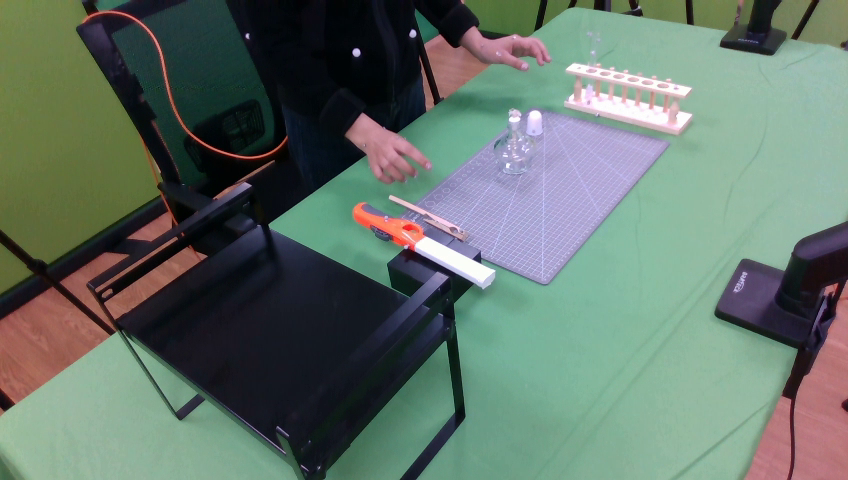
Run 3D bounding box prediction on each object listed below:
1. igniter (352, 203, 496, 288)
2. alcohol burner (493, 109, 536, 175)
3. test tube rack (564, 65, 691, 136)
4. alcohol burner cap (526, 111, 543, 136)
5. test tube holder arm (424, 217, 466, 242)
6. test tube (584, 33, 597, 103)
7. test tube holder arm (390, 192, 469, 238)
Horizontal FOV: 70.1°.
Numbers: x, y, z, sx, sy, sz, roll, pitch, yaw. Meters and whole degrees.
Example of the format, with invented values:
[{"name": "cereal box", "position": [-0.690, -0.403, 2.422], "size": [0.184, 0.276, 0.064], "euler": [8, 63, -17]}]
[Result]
[{"name": "igniter", "position": [-0.011, 0.002, 0.899], "size": [0.274, 0.025, 0.057], "euler": [27, 45, 33]}, {"name": "alcohol burner", "position": [0.163, -0.179, 1.087], "size": [0.078, 0.119, 0.077], "euler": [-5, 38, 4]}, {"name": "test tube rack", "position": [0.404, -0.288, 1.204], "size": [0.240, 0.085, 0.067], "euler": [24, 49, 32]}, {"name": "alcohol burner cap", "position": [0.219, -0.232, 1.196], "size": [0.034, 0.048, 0.033], "euler": [-4, 40, 4]}, {"name": "test tube holder arm", "position": [0.033, -0.020, 0.992], "size": [0.087, 0.015, 0.010], "euler": [32, 84, 36]}, {"name": "test tube", "position": [0.330, -0.338, 1.199], "size": [0.017, 0.151, 0.017], "euler": [-5, 45, 5]}, {"name": "test tube holder arm", "position": [0.006, -0.044, 1.019], "size": [0.177, 0.015, 0.013], "euler": [32, 84, 36]}]
